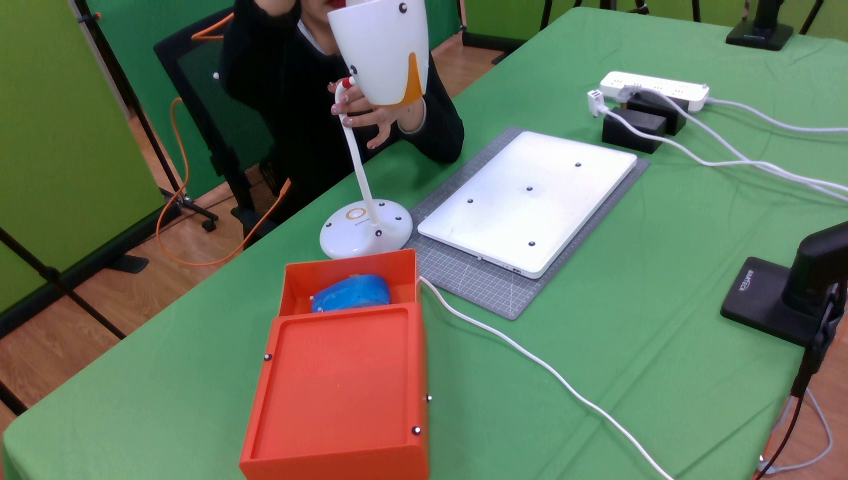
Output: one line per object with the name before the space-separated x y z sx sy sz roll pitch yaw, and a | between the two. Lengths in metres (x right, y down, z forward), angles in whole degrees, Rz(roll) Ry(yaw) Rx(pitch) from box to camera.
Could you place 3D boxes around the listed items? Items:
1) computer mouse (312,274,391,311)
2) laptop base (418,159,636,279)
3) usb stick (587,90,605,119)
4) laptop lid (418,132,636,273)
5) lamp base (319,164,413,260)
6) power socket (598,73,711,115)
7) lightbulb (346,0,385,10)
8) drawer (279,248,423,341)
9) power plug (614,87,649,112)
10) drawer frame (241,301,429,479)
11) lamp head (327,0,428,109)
computer mouse | -0.107 0.086 0.885 0.117 0.041 0.062 -14 40 0
laptop base | 0.185 -0.074 1.042 0.233 0.023 0.355 19 48 35
usb stick | 0.334 -0.258 1.170 0.021 0.059 0.027 -29 44 -6
laptop lid | 0.181 -0.084 1.036 0.239 0.013 0.358 22 49 35
lamp base | -0.102 -0.068 0.962 0.161 0.181 0.177 -30 47 -20
power socket | 0.469 -0.304 1.249 0.225 0.033 0.072 20 49 30
lightbulb | -0.053 -0.245 0.694 0.059 0.108 0.059 -15 16 5
drawer | -0.100 0.114 0.828 0.194 0.073 0.210 -7 40 2
power plug | 0.406 -0.275 1.192 0.035 0.053 0.072 -15 24 -15
drawer frame | -0.096 0.183 0.741 0.202 0.083 0.212 -6 40 3
lamp head | -0.046 -0.216 0.707 0.112 0.123 0.112 -8 25 4
